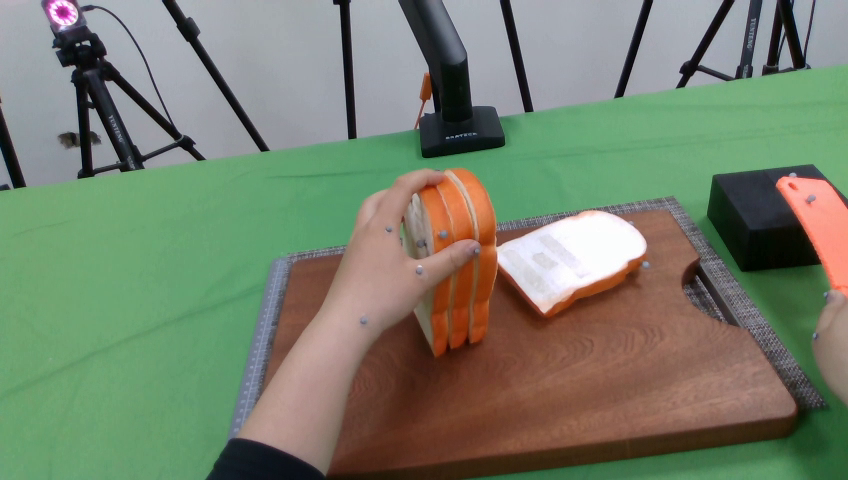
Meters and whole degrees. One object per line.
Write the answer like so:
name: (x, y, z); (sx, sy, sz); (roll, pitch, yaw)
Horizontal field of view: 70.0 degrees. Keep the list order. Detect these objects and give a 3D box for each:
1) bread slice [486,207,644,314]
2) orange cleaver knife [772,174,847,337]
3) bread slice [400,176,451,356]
bread slice: (0.138, 0.014, 0.569); (0.131, 0.019, 0.103); (-24, 36, -10)
orange cleaver knife: (0.344, 0.017, 0.495); (0.077, 0.012, 0.209); (14, 49, -9)
bread slice: (-0.001, 0.014, 0.518); (0.018, 0.135, 0.106); (-9, 33, -14)
